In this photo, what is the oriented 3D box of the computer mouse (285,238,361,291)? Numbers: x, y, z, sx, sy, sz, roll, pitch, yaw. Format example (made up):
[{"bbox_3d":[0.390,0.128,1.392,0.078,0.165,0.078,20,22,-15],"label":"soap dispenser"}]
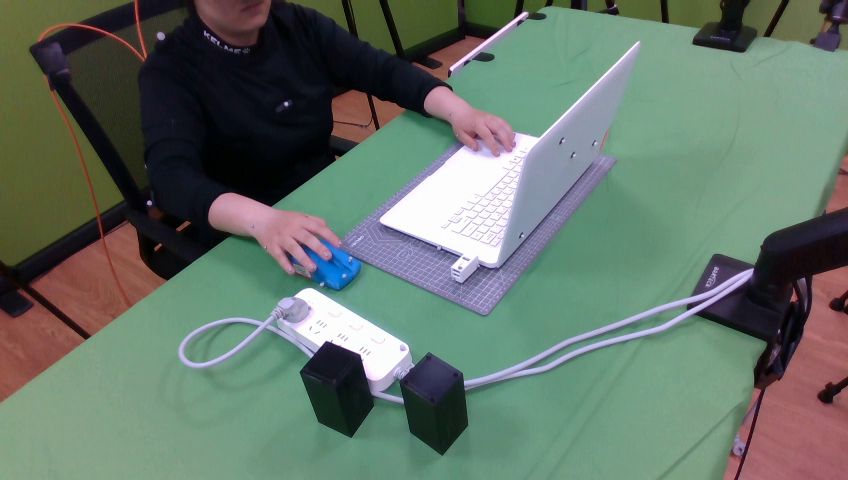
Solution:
[{"bbox_3d":[-0.158,0.035,0.940,0.116,0.041,0.063,23,46,25],"label":"computer mouse"}]

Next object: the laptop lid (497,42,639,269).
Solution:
[{"bbox_3d":[0.221,-0.130,0.912,0.013,0.242,0.357,31,51,21],"label":"laptop lid"}]

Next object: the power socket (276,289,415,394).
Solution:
[{"bbox_3d":[-0.114,0.133,0.821,0.225,0.033,0.072,25,49,33],"label":"power socket"}]

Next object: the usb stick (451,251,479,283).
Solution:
[{"bbox_3d":[0.066,0.036,0.899,0.021,0.027,0.059,22,45,32],"label":"usb stick"}]

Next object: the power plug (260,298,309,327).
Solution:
[{"bbox_3d":[-0.193,0.107,0.831,0.073,0.053,0.035,-31,43,-26],"label":"power plug"}]

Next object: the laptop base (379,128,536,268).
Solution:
[{"bbox_3d":[0.118,-0.088,1.058,0.233,0.023,0.355,19,47,32],"label":"laptop base"}]
